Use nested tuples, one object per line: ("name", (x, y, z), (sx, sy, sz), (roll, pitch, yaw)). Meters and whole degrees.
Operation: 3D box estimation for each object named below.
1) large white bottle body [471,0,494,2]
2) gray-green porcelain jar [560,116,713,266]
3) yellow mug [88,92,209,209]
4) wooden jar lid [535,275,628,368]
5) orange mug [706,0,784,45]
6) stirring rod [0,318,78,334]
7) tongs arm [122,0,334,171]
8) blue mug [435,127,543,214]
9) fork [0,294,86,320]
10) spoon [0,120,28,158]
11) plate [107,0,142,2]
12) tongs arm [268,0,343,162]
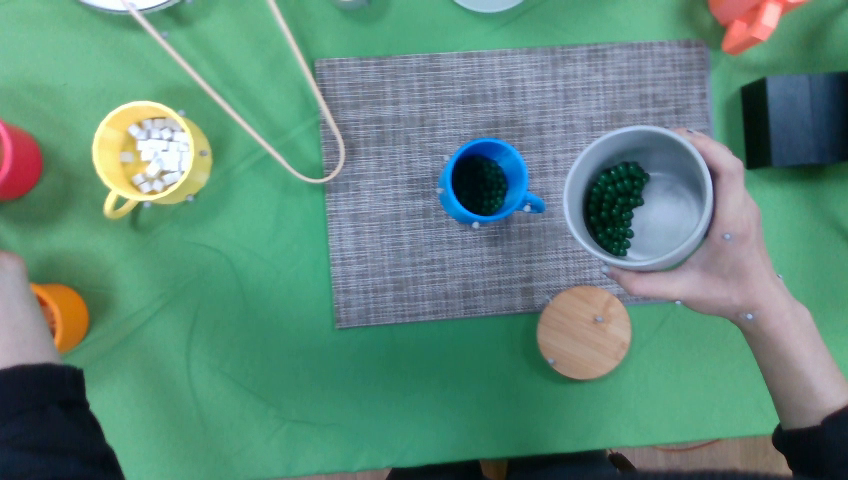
("large white bottle body", (0.069, -0.331, 0.595), (0.131, 0.184, 0.130), (0, 91, -4))
("gray-green porcelain jar", (0.178, -0.033, 0.497), (0.105, 0.127, 0.105), (-3, 83, 27))
("yellow mug", (-0.295, -0.087, 0.636), (0.100, 0.064, 0.131), (34, 90, -5))
("wooden jar lid", (0.180, 0.094, 0.698), (0.108, 0.020, 0.108), (0, 95, -3))
("orange mug", (0.365, -0.282, 0.662), (0.083, 0.101, 0.126), (19, 86, -4))
("stirring rod", (-0.434, 0.082, 0.592), (0.006, 0.177, 0.014), (-11, 74, 39))
("tongs arm", (-0.244, -0.210, 0.630), (0.051, 0.026, 0.386), (-43, 101, -5))
("blue mug", (0.071, -0.064, 0.640), (0.117, 0.105, 0.082), (22, 90, -4))
("fork", (-0.444, 0.064, 0.587), (0.209, 0.018, 0.028), (9, 90, -48))
("spoon", (-0.487, -0.079, 0.583), (0.194, 0.021, 0.041), (-33, 93, -47))
("plate", (-0.319, -0.353, 0.639), (0.208, 0.039, 0.207), (0, 92, -4))
("tongs arm", (-0.177, -0.261, 0.636), (0.028, 0.027, 0.389), (-30, 100, -11))
